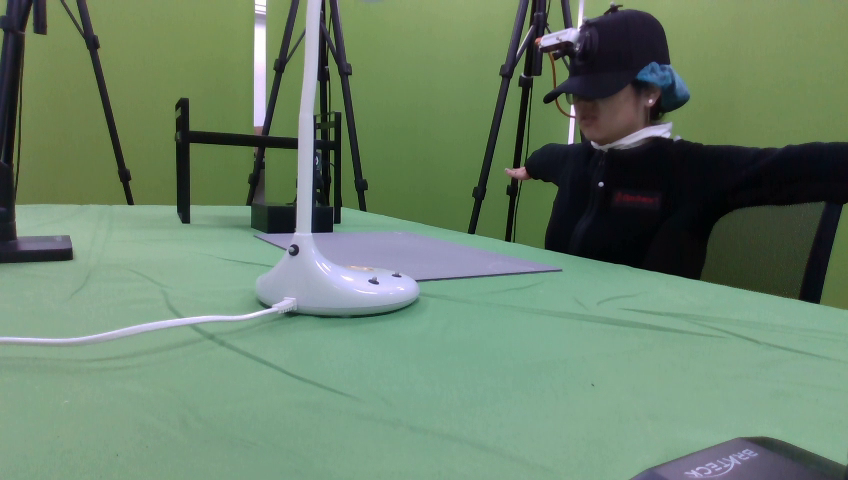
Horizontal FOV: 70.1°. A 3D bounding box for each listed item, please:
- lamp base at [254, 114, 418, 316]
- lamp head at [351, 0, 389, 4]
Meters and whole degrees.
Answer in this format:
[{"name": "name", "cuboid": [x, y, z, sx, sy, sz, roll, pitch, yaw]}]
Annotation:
[{"name": "lamp base", "cuboid": [-0.086, -0.027, 0.577, 0.160, 0.180, 0.179, 4, 10, 16]}, {"name": "lamp head", "cuboid": [-0.053, -0.313, 0.597, 0.112, 0.112, 0.123, 6, -28, 25]}]
